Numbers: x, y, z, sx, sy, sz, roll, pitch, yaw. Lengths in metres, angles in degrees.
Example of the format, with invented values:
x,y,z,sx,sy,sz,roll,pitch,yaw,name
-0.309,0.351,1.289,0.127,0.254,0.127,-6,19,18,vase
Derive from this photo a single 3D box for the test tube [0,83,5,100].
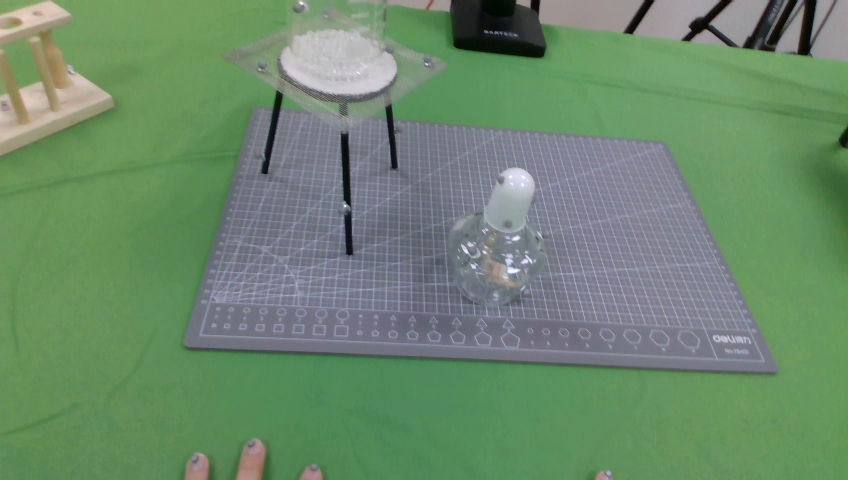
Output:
x,y,z,sx,sy,sz,roll,pitch,yaw,name
-0.385,-0.185,0.504,0.017,0.151,0.017,3,43,-2,test tube

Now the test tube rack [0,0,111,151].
x,y,z,sx,sy,sz,roll,pitch,yaw,name
-0.402,-0.117,0.506,0.066,0.086,0.242,33,49,20,test tube rack

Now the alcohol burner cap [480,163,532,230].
x,y,z,sx,sy,sz,roll,pitch,yaw,name
0.061,-0.033,0.435,0.034,0.048,0.033,5,50,-5,alcohol burner cap

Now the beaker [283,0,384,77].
x,y,z,sx,sy,sz,roll,pitch,yaw,name
-0.065,-0.173,0.422,0.084,0.101,0.073,-33,61,-32,beaker

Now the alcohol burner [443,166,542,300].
x,y,z,sx,sy,sz,roll,pitch,yaw,name
0.056,-0.010,0.461,0.078,0.120,0.077,6,44,-6,alcohol burner

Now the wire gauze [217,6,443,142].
x,y,z,sx,sy,sz,roll,pitch,yaw,name
-0.067,-0.134,0.454,0.124,0.011,0.121,36,53,17,wire gauze

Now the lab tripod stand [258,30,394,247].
x,y,z,sx,sy,sz,roll,pitch,yaw,name
-0.073,-0.089,0.501,0.149,0.132,0.147,6,46,-6,lab tripod stand
